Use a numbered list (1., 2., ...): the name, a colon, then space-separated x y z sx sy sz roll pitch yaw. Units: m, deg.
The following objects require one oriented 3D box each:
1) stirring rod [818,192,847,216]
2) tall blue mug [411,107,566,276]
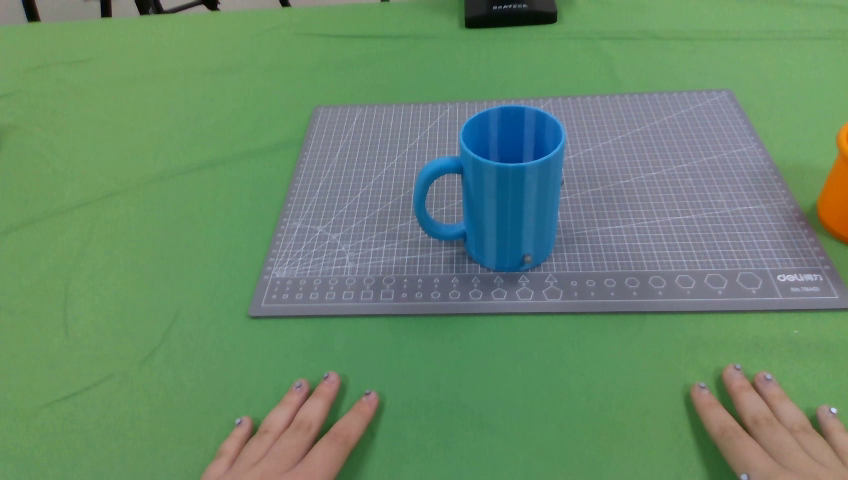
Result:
1. stirring rod: 0.385 -0.060 0.445 0.176 0.006 0.014 -32 33 38
2. tall blue mug: 0.053 -0.029 0.463 0.107 0.109 0.077 -29 50 -22
